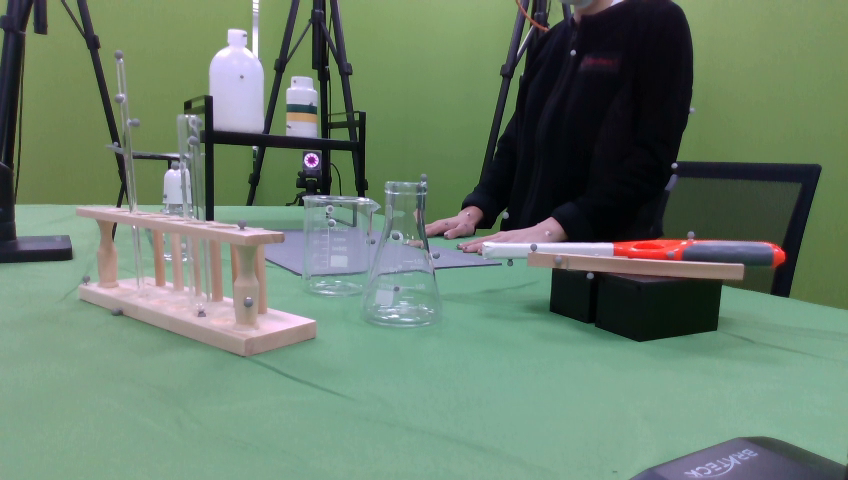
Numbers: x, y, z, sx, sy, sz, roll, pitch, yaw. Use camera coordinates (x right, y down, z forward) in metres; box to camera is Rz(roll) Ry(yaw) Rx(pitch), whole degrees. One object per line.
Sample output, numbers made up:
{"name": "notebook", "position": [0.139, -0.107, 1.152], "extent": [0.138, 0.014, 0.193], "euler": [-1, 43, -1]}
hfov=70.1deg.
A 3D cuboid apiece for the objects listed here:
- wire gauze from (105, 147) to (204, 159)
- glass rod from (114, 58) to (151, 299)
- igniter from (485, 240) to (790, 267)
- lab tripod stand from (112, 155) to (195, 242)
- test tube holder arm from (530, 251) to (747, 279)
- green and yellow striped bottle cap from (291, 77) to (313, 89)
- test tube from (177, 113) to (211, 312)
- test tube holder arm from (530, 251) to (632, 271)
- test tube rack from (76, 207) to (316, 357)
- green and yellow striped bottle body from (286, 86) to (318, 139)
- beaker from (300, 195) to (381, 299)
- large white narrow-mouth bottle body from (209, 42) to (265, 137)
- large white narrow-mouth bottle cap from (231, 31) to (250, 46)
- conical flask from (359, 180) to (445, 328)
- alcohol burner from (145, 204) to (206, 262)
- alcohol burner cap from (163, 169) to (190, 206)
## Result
{"name": "wire gauze", "position": [-0.407, -0.131, 0.929], "extent": [0.125, 0.011, 0.121], "euler": [2, 6, -11]}
{"name": "glass rod", "position": [-0.236, -0.044, 0.492], "extent": [0.008, 0.199, 0.008], "euler": [0, 15, 0]}
{"name": "igniter", "position": [0.197, 0.012, 0.585], "extent": [0.276, 0.025, 0.057], "euler": [1, 5, 12]}
{"name": "lab tripod stand", "position": [-0.405, -0.064, 0.931], "extent": [0.148, 0.131, 0.148], "euler": [1, 7, 0]}
{"name": "test tube holder arm", "position": [0.182, 0.022, 0.523], "extent": [0.178, 0.015, 0.013], "euler": [3, 7, 12]}
{"name": "green and yellow striped bottle cap", "position": [-0.249, -0.321, 1.237], "extent": [0.045, 0.020, 0.045], "euler": [3, 5, 0]}
{"name": "test tube", "position": [-0.174, -0.020, 0.458], "extent": [0.017, 0.150, 0.017], "euler": [-2, 5, 0]}
{"name": "test tube holder arm", "position": [0.139, 0.019, 0.538], "extent": [0.087, 0.015, 0.010], "euler": [3, 7, 13]}
{"name": "test tube rack", "position": [-0.196, 0.023, 0.500], "extent": [0.241, 0.085, 0.067], "euler": [8, 9, 36]}
{"name": "green and yellow striped bottle body", "position": [-0.251, -0.270, 1.245], "extent": [0.063, 0.119, 0.063], "euler": [2, 7, 0]}
{"name": "beaker", "position": [-0.087, 0.006, 0.626], "extent": [0.084, 0.100, 0.074], "euler": [1, 8, -17]}
{"name": "large white narrow-mouth bottle body", "position": [-0.361, -0.303, 1.175], "extent": [0.102, 0.194, 0.102], "euler": [4, 6, 0]}
{"name": "large white narrow-mouth bottle cap", "position": [-0.354, -0.388, 1.167], "extent": [0.038, 0.024, 0.037], "euler": [4, 5, 0]}
{"name": "conical flask", "position": [-0.017, 0.010, 0.522], "extent": [0.075, 0.122, 0.075], "euler": [2, 7, 0]}
{"name": "alcohol burner", "position": [-0.321, -0.032, 0.788], "extent": [0.078, 0.119, 0.078], "euler": [1, 7, 0]}
{"name": "alcohol burner cap", "position": [-0.320, -0.068, 0.782], "extent": [0.034, 0.048, 0.034], "euler": [1, 7, 0]}
